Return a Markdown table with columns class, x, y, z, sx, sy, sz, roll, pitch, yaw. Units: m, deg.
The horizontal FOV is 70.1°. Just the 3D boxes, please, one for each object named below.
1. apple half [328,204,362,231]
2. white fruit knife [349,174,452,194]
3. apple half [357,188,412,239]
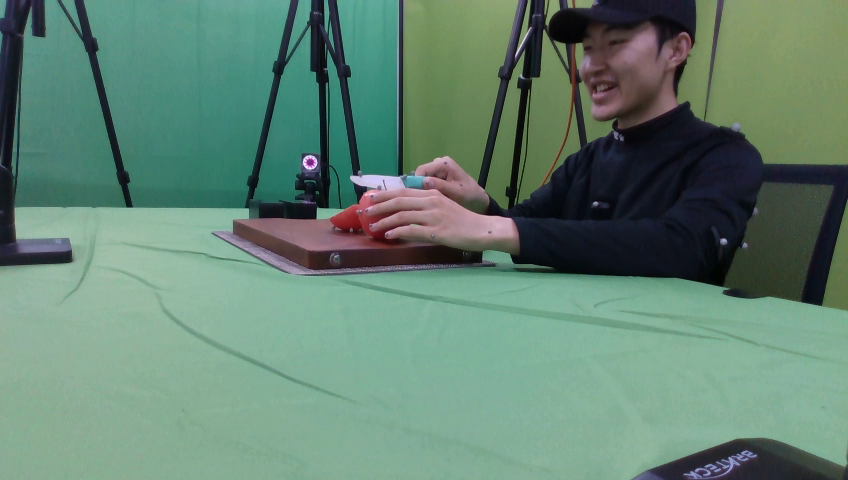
| class | x | y | z | sx | sy | sz | roll | pitch | yaw |
| --- | --- | --- | --- | --- | --- | --- | --- | --- | --- |
| apple half | -0.107 | -0.033 | 0.954 | 0.081 | 0.033 | 0.081 | -18 | -5 | -1 |
| white fruit knife | -0.031 | -0.088 | 0.929 | 0.208 | 0.027 | 0.016 | -1 | -4 | -44 |
| apple half | -0.050 | -0.037 | 0.873 | 0.081 | 0.074 | 0.053 | 0 | 11 | -41 |
